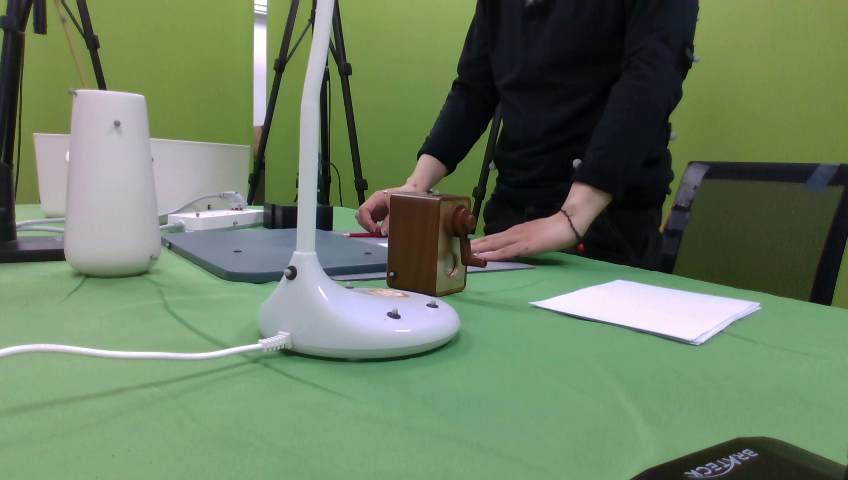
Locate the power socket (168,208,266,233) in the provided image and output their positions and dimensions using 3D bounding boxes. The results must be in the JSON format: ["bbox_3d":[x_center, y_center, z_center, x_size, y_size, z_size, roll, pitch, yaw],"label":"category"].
[{"bbox_3d":[-0.379,-0.038,1.129,0.072,0.032,0.227,4,8,18],"label":"power socket"}]

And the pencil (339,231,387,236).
[{"bbox_3d":[-0.057,-0.013,1.095,0.195,0.012,0.012,-1,8,-18],"label":"pencil"}]

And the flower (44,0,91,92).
[{"bbox_3d":[-0.361,-0.142,0.663,0.044,0.361,0.038,-12,11,30],"label":"flower"}]

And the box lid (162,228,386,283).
[{"bbox_3d":[-0.200,0.014,0.861,0.265,0.015,0.369,-4,9,-35],"label":"box lid"}]

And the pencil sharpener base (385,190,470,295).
[{"bbox_3d":[0.006,0.001,0.653,0.076,0.107,0.061,8,9,37],"label":"pencil sharpener base"}]

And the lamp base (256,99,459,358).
[{"bbox_3d":[-0.055,-0.013,0.463,0.160,0.180,0.180,6,11,27],"label":"lamp base"}]

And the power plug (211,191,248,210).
[{"bbox_3d":[-0.384,-0.071,1.205,0.072,0.052,0.035,1,8,28],"label":"power plug"}]

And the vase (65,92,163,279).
[{"bbox_3d":[-0.347,-0.060,0.673,0.098,0.200,0.098,1,7,0],"label":"vase"}]

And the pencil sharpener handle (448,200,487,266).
[{"bbox_3d":[0.049,-0.006,0.623,0.030,0.068,0.036,8,22,37],"label":"pencil sharpener handle"}]

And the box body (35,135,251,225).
[{"bbox_3d":[-0.559,-0.127,1.257,0.253,0.160,0.365,4,8,15],"label":"box body"}]
